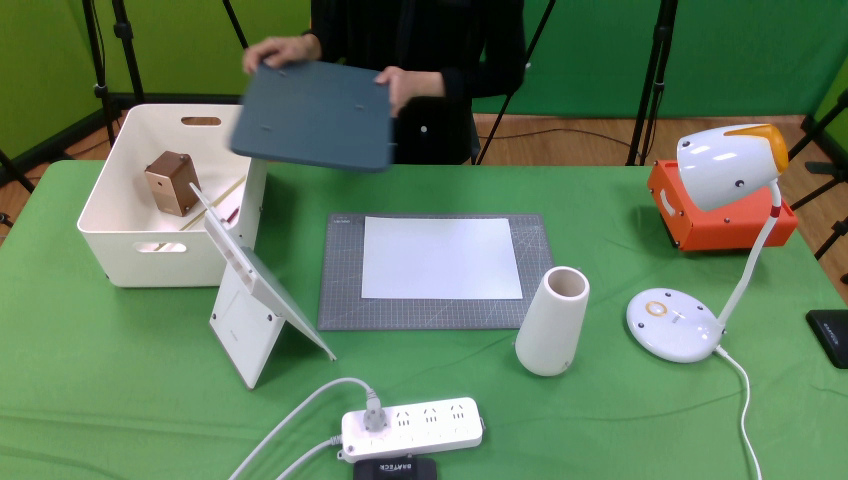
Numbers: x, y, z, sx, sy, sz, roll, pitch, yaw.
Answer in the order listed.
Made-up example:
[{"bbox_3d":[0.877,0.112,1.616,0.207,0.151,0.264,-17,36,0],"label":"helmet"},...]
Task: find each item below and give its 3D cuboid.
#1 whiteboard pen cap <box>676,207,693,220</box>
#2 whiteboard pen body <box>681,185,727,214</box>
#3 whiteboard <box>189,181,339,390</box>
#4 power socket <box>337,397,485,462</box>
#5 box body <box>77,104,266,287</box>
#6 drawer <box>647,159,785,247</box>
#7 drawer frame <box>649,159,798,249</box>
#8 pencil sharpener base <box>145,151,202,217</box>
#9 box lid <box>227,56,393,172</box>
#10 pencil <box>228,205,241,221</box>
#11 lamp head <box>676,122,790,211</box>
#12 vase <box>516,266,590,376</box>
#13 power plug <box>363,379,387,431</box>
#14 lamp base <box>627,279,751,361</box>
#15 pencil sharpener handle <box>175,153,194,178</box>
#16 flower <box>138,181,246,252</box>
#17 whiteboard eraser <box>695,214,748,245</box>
[{"bbox_3d":[0.524,-0.053,1.216,0.033,0.018,0.018,-28,54,-23],"label":"whiteboard pen cap"},{"bbox_3d":[0.571,-0.081,1.238,0.141,0.017,0.017,-27,54,-23],"label":"whiteboard pen body"},{"bbox_3d":[-0.292,0.096,0.929,0.144,0.307,0.216,-37,57,-10],"label":"whiteboard"},{"bbox_3d":[-0.018,0.285,0.915,0.227,0.033,0.071,-5,46,-8],"label":"power socket"},{"bbox_3d":[-0.447,-0.088,1.150,0.254,0.161,0.361,-1,46,-5],"label":"box body"},{"bbox_3d":[0.582,-0.079,1.214,0.212,0.073,0.193,-1,46,-5],"label":"drawer"},{"bbox_3d":[0.588,-0.077,1.219,0.214,0.083,0.200,-2,45,-5],"label":"drawer frame"},{"bbox_3d":[-0.491,-0.112,1.200,0.061,0.107,0.076,15,47,12],"label":"pencil sharpener base"},{"bbox_3d":[-0.188,-0.237,1.095,0.264,0.015,0.369,6,39,-7],"label":"box lid"},{"bbox_3d":[-0.402,-0.009,1.177,0.012,0.012,0.193,14,45,9],"label":"pencil"},{"bbox_3d":[0.423,-0.104,0.819,0.122,0.113,0.112,-13,33,40],"label":"lamp head"},{"bbox_3d":[0.208,0.132,0.964,0.098,0.201,0.097,3,46,-3],"label":"vase"},{"bbox_3d":[-0.072,0.252,0.910,0.035,0.053,0.072,3,45,-1],"label":"power plug"},{"bbox_3d":[0.459,0.100,1.027,0.178,0.181,0.160,27,51,17],"label":"lamp base"},{"bbox_3d":[-0.478,-0.156,1.225,0.036,0.068,0.030,25,48,0],"label":"pencil sharpener handle"},{"bbox_3d":[-0.442,-0.044,1.193,0.044,0.038,0.361,45,48,-6],"label":"flower"},{"bbox_3d":[0.592,-0.019,1.209,0.113,0.042,0.055,11,27,-36],"label":"whiteboard eraser"}]
